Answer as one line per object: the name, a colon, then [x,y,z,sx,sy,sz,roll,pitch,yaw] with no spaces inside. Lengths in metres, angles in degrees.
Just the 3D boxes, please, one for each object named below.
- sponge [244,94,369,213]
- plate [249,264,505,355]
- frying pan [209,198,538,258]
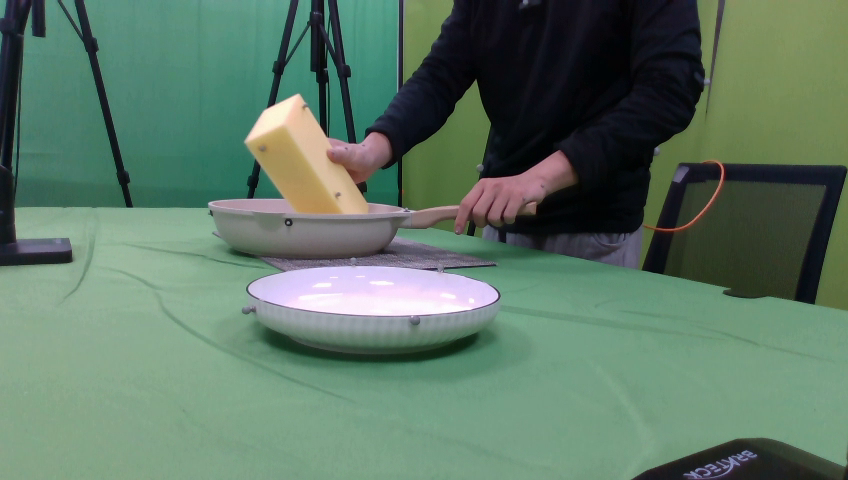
sponge: [-0.160,-0.090,0.866,0.061,0.207,0.118,-24,31,14]
plate: [-0.038,0.056,0.504,0.208,0.039,0.207,2,7,0]
frying pan: [-0.075,-0.034,0.912,0.487,0.102,0.307,-5,7,12]
